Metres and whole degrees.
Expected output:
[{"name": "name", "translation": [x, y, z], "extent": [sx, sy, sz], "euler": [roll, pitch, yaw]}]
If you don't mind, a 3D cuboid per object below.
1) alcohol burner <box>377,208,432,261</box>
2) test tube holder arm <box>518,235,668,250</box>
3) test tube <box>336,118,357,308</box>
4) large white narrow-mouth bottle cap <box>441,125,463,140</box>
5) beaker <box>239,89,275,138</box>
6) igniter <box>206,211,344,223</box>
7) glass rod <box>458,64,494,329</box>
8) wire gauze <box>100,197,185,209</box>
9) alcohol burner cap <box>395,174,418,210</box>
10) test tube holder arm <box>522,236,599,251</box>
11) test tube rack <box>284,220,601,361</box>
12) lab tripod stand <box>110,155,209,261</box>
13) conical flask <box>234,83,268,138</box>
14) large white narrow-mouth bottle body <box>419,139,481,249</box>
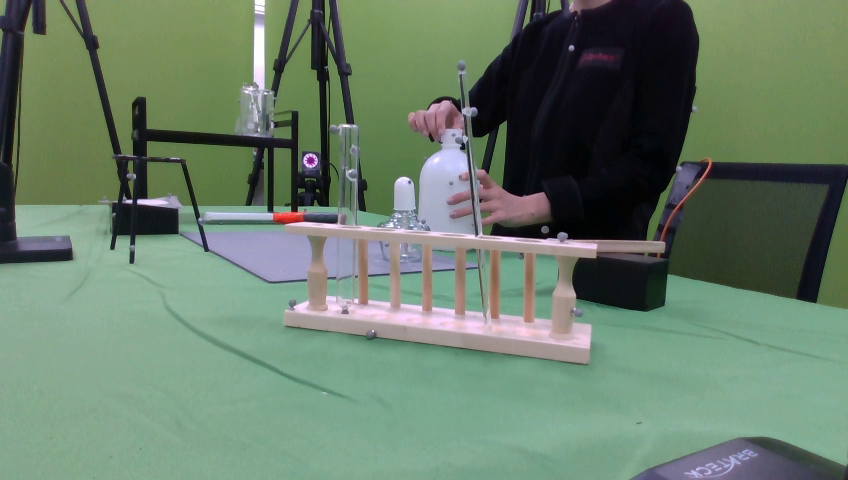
[{"name": "alcohol burner", "translation": [-0.027, -0.031, 0.838], "extent": [0.078, 0.119, 0.078], "euler": [0, 6, 0]}, {"name": "test tube holder arm", "translation": [0.186, 0.003, 0.654], "extent": [0.179, 0.015, 0.013], "euler": [0, 12, -17]}, {"name": "test tube", "translation": [-0.061, -0.019, 0.476], "extent": [0.017, 0.150, 0.017], "euler": [2, 11, 0]}, {"name": "large white narrow-mouth bottle cap", "translation": [0.045, -0.174, 0.983], "extent": [0.038, 0.024, 0.037], "euler": [2, 8, 0]}, {"name": "beaker", "translation": [-0.360, -0.273, 1.308], "extent": [0.074, 0.100, 0.084], "euler": [0, 8, -11]}, {"name": "igniter", "translation": [-0.302, -0.048, 1.249], "extent": [0.278, 0.025, 0.057], "euler": [-2, -2, -27]}, {"name": "glass rod", "translation": [0.039, -0.029, 0.450], "extent": [0.008, 0.199, 0.008], "euler": [-7, 9, 1]}, {"name": "wire gauze", "translation": [-0.469, -0.062, 1.008], "extent": [0.126, 0.011, 0.121], "euler": [-2, 8, -25]}, {"name": "alcohol burner cap", "translation": [-0.026, -0.067, 0.833], "extent": [0.034, 0.048, 0.034], "euler": [-1, 12, 1]}, {"name": "test tube holder arm", "translation": [0.144, 0.004, 0.635], "extent": [0.088, 0.015, 0.010], "euler": [0, 12, -19]}, {"name": "test tube rack", "translation": [0.013, 0.032, 0.482], "extent": [0.242, 0.085, 0.067], "euler": [4, 7, 16]}, {"name": "lab tripod stand", "translation": [-0.361, -0.046, 0.806], "extent": [0.148, 0.131, 0.148], "euler": [2, 5, 0]}, {"name": "conical flask", "translation": [-0.399, -0.298, 1.396], "extent": [0.075, 0.122, 0.075], "euler": [2, 8, 0]}, {"name": "large white narrow-mouth bottle body", "translation": [0.044, -0.086, 0.995], "extent": [0.102, 0.194, 0.102], "euler": [2, 8, 0]}]
